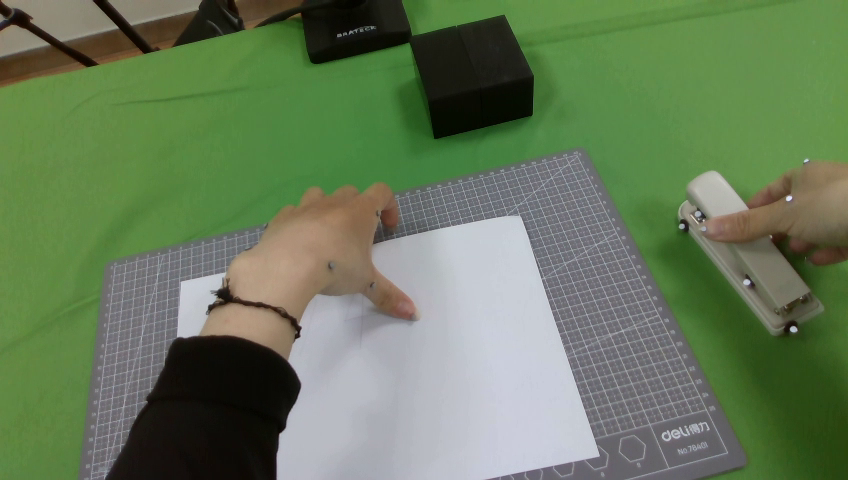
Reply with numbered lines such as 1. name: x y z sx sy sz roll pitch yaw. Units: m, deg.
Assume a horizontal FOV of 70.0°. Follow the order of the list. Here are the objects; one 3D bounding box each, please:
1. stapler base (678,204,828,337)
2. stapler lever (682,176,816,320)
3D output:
1. stapler base: 0.243 0.010 0.461 0.041 0.025 0.129 -37 55 15
2. stapler lever: 0.232 0.001 0.440 0.027 0.040 0.117 -37 54 15
